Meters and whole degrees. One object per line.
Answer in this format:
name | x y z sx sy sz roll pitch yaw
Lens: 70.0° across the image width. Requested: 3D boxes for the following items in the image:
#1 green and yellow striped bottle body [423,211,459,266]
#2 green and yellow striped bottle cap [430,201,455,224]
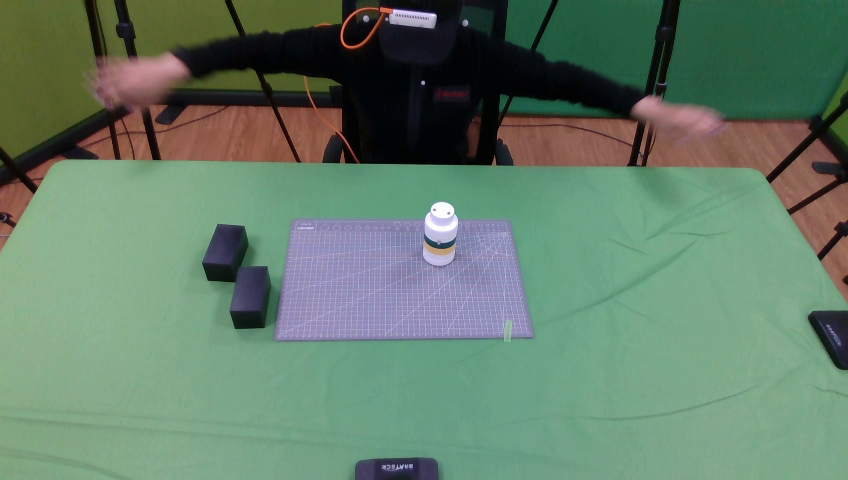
green and yellow striped bottle body | 0.032 -0.013 1.139 0.063 0.120 0.063 2 46 -2
green and yellow striped bottle cap | 0.034 -0.050 1.102 0.045 0.020 0.045 2 48 -2
